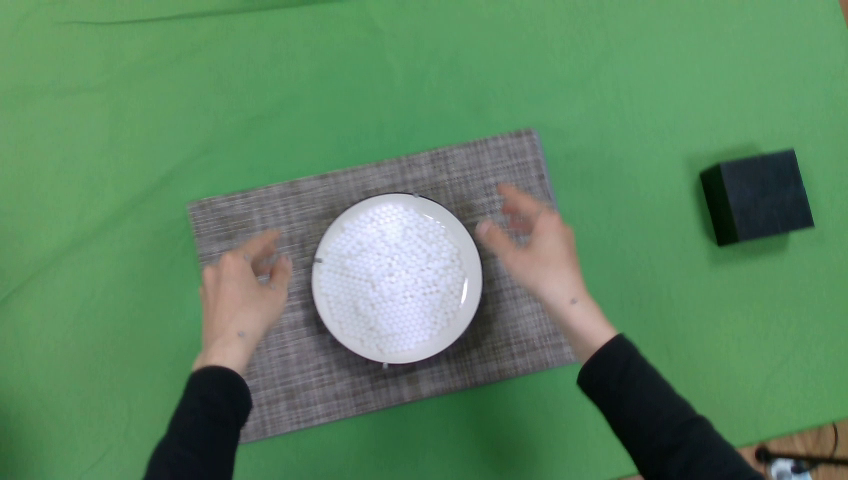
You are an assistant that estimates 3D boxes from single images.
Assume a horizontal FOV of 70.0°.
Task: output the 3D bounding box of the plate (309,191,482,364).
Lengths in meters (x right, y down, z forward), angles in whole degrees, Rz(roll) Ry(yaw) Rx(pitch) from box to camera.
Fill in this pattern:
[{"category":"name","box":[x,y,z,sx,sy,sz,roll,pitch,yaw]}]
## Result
[{"category":"plate","box":[-0.034,0.044,0.740,0.209,0.038,0.208,0,83,-2]}]
